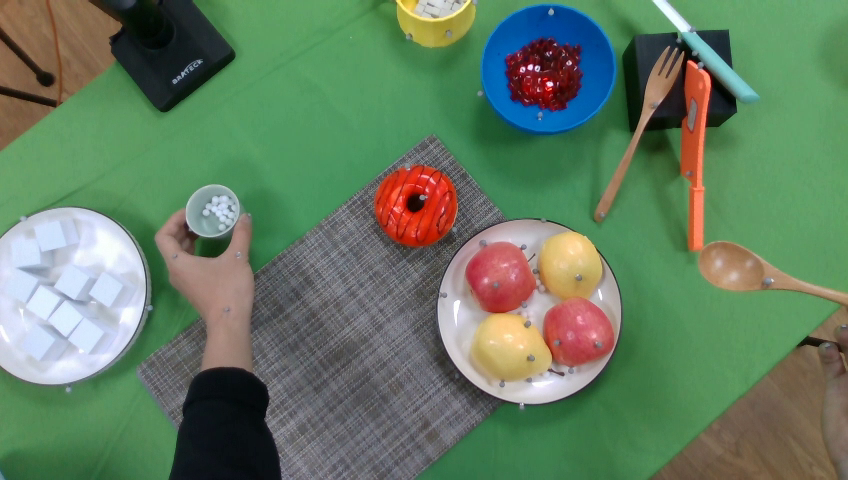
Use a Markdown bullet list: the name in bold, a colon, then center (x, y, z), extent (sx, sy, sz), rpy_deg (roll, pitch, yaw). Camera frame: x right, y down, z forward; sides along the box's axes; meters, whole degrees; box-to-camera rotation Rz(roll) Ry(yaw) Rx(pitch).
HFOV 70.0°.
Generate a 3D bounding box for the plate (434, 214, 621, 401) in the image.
- **plate**: center (0.115, 0.075, 0.688), extent (0.209, 0.038, 0.208), rpy_deg (0, 82, 2)

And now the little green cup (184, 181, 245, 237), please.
- **little green cup**: center (-0.238, -0.032, 0.696), extent (0.061, 0.039, 0.061), rpy_deg (-1, 76, 5)

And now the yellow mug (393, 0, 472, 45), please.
- **yellow mug**: center (-0.006, -0.303, 0.734), extent (0.130, 0.064, 0.099), rpy_deg (18, 83, 5)

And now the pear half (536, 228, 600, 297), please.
- **pear half**: center (0.160, 0.031, 0.678), extent (0.070, 0.031, 0.088), rpy_deg (-11, 92, 24)

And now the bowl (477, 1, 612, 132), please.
- **bowl**: center (0.135, -0.190, 0.708), extent (0.151, 0.077, 0.151), rpy_deg (0, 83, 2)

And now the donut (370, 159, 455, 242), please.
- **donut**: center (-0.013, -0.045, 0.706), extent (0.099, 0.048, 0.099), rpy_deg (0, 84, 4)

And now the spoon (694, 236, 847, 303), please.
- **spoon**: center (0.318, 0.040, 0.488), extent (0.192, 0.022, 0.041), rpy_deg (19, 81, 23)

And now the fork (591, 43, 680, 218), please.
- **fork**: center (0.236, -0.120, 0.690), extent (0.028, 0.018, 0.208), rpy_deg (19, 103, -4)

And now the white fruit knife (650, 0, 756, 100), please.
- **white fruit knife**: center (0.300, -0.236, 0.691), extent (0.027, 0.016, 0.206), rpy_deg (-33, 79, -32)

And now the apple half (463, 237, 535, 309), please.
- **apple half**: center (0.083, 0.038, 0.677), extent (0.074, 0.053, 0.080), rpy_deg (-22, 85, -1)

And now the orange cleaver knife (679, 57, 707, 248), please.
- **orange cleaver knife**: center (0.301, -0.097, 0.687), extent (0.012, 0.077, 0.212), rpy_deg (-4, 107, 6)

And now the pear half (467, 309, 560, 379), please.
- **pear half**: center (0.105, 0.121, 0.669), extent (0.110, 0.056, 0.076), rpy_deg (23, 88, -3)

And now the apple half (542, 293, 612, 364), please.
- **apple half**: center (0.162, 0.099, 0.666), extent (0.081, 0.033, 0.081), rpy_deg (2, 94, 22)

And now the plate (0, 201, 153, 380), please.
- **plate**: center (-0.417, 0.059, 0.713), extent (0.207, 0.039, 0.207), rpy_deg (0, 82, 2)
